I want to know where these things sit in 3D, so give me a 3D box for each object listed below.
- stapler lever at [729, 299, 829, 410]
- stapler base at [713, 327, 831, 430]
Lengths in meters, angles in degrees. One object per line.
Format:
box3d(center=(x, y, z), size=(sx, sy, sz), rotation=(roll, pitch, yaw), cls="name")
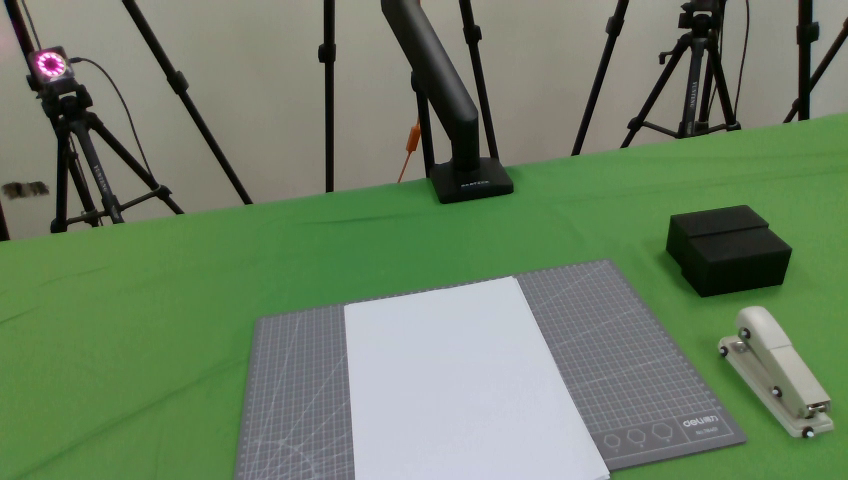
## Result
box3d(center=(0.328, 0.101, 0.563), size=(0.027, 0.040, 0.117), rotation=(-11, 35, -5), cls="stapler lever")
box3d(center=(0.329, 0.122, 0.579), size=(0.041, 0.024, 0.129), rotation=(-11, 35, -5), cls="stapler base")
